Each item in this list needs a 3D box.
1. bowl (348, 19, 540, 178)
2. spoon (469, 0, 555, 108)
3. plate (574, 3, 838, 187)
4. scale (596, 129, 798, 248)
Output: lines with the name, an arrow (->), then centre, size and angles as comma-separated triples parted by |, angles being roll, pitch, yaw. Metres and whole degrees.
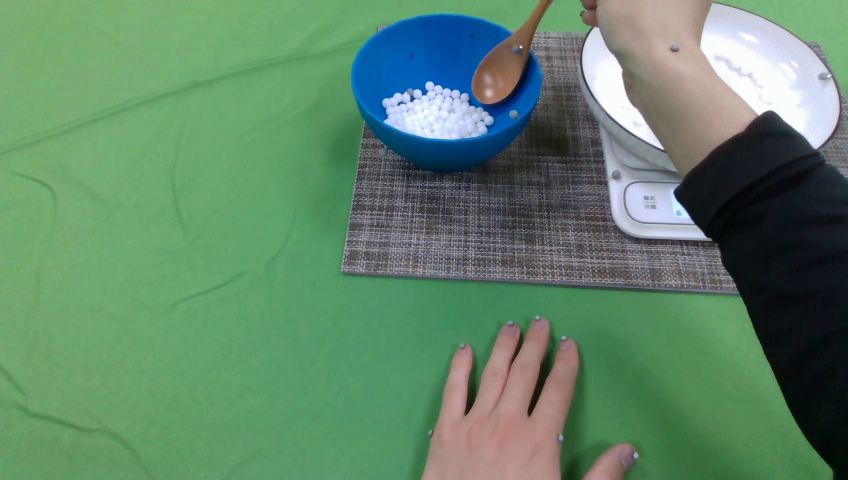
bowl -> 0.016, -0.105, 0.505 | 0.151, 0.077, 0.150 | 0, 55, 0
spoon -> 0.090, -0.171, 0.451 | 0.022, 0.194, 0.041 | -14, 66, -36
plate -> 0.227, -0.121, 0.506 | 0.209, 0.038, 0.207 | 1, 55, -1
scale -> 0.225, -0.084, 0.520 | 0.149, 0.032, 0.199 | 2, 56, 1
